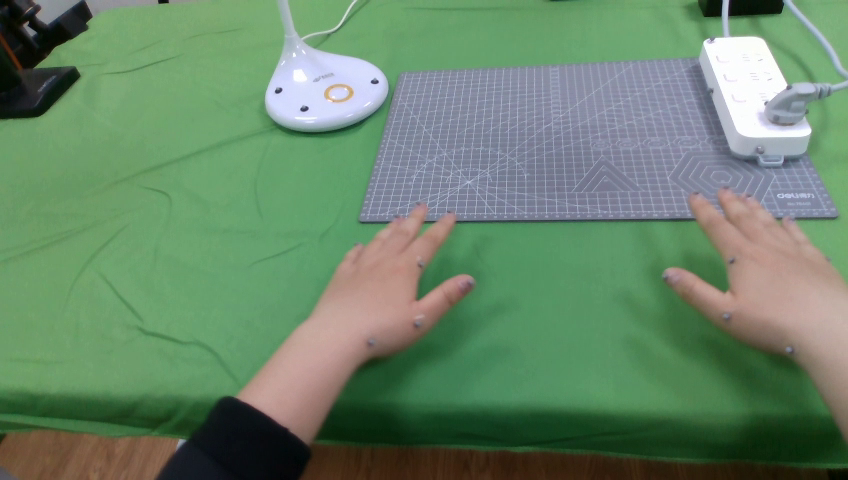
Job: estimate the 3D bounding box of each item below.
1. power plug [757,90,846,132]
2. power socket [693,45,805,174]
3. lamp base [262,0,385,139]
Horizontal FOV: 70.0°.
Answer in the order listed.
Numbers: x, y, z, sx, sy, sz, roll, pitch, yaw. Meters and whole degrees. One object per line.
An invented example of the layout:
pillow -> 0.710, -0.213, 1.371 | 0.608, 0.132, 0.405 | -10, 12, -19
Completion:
power plug -> 0.371, -0.120, 0.600 | 0.072, 0.053, 0.035 | 9, 46, 17
power socket -> 0.354, -0.155, 0.672 | 0.072, 0.033, 0.225 | 2, 44, 9
lamp base -> -0.148, -0.241, 0.741 | 0.160, 0.182, 0.177 | -37, 47, -27
